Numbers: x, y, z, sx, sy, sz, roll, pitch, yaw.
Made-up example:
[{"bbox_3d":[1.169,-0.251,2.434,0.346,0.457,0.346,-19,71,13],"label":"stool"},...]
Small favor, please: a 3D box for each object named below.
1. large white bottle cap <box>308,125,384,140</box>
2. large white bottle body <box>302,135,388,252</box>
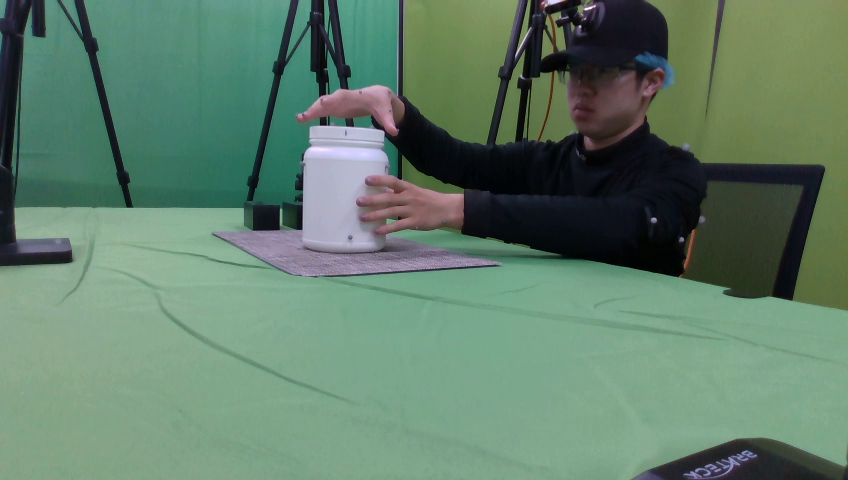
[{"bbox_3d":[-0.119,-0.163,0.927,0.115,0.018,0.115,2,6,0],"label":"large white bottle cap"},{"bbox_3d":[-0.122,-0.080,0.937,0.131,0.184,0.130,2,7,0],"label":"large white bottle body"}]
